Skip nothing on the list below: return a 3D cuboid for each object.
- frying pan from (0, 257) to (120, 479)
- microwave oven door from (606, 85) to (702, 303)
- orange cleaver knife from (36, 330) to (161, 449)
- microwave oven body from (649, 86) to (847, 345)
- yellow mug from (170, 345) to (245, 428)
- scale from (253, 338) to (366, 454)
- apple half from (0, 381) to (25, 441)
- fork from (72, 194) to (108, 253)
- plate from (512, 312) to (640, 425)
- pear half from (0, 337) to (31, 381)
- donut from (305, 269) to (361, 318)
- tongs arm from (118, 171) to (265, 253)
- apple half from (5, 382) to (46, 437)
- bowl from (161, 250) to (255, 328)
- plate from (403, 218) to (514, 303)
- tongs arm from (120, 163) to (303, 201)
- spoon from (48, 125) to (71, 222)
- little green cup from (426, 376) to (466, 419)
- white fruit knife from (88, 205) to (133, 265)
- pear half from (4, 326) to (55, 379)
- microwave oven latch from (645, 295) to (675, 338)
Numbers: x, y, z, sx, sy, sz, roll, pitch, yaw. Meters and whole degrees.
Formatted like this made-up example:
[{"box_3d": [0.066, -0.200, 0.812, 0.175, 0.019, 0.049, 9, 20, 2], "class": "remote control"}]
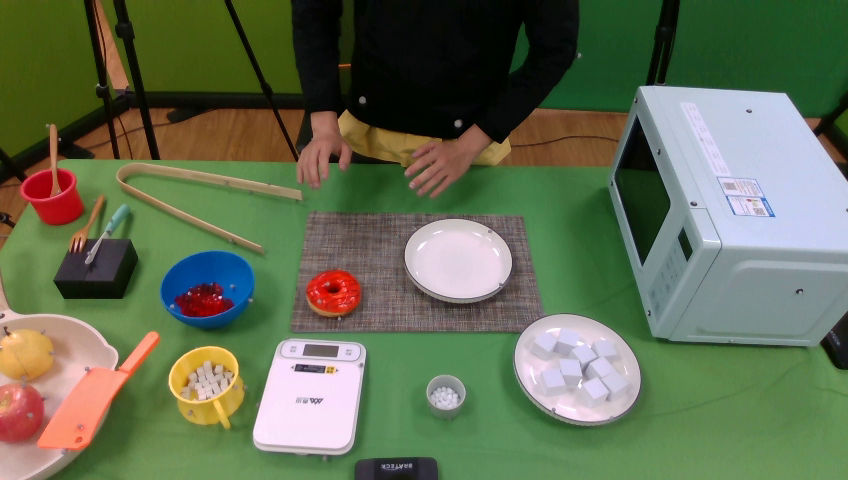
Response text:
[{"box_3d": [-0.647, 0.164, 0.936, 0.307, 0.103, 0.485, -19, 58, -22], "class": "frying pan"}, {"box_3d": [0.422, -0.094, 1.140, 0.039, 0.245, 0.353, 2, 46, -1], "class": "microwave oven door"}, {"box_3d": [-0.466, 0.210, 0.880, 0.077, 0.012, 0.210, 15, 46, 9], "class": "orange cleaver knife"}, {"box_3d": [0.567, -0.053, 1.118, 0.326, 0.261, 0.439, 2, 45, -1], "class": "microwave oven body"}, {"box_3d": [-0.322, 0.230, 0.922, 0.100, 0.064, 0.130, -24, 53, -25], "class": "yellow mug"}, {"box_3d": [-0.175, 0.236, 0.951, 0.149, 0.032, 0.199, 4, 45, -1], "class": "scale"}, {"box_3d": [-0.605, 0.250, 0.871, 0.053, 0.075, 0.080, -9, 51, -7], "class": "apple half"}, {"box_3d": [-0.634, -0.036, 1.158, 0.028, 0.019, 0.206, -8, 32, -8], "class": "fork"}, {"box_3d": [0.246, 0.213, 0.999, 0.208, 0.039, 0.206, 2, 46, -2], "class": "plate"}, {"box_3d": [-0.632, 0.185, 0.920, 0.070, 0.088, 0.031, 29, 50, 20], "class": "pear half"}, {"box_3d": [-0.160, 0.094, 1.075, 0.099, 0.048, 0.098, 4, 45, -3], "class": "donut"}, {"box_3d": [-0.473, -0.056, 1.209, 0.386, 0.028, 0.028, 23, 55, 17], "class": "tongs arm"}, {"box_3d": [-0.567, 0.244, 0.877, 0.033, 0.082, 0.080, -9, 47, -7], "class": "apple half"}, {"box_3d": [-0.362, 0.098, 1.039, 0.151, 0.077, 0.150, 2, 45, -2], "class": "bowl"}, {"box_3d": [0.064, 0.042, 1.146, 0.209, 0.038, 0.208, 2, 46, -2], "class": "plate"}, {"box_3d": [-0.444, -0.114, 1.266, 0.384, 0.026, 0.050, 12, 50, 7], "class": "tongs arm"}, {"box_3d": [-0.718, -0.131, 1.188, 0.041, 0.021, 0.193, -3, 90, -7], "class": "spoon"}, {"box_3d": [0.033, 0.248, 0.950, 0.061, 0.039, 0.061, 2, 46, -2], "class": "little green cup"}, {"box_3d": [-0.584, -0.013, 1.129, 0.016, 0.027, 0.206, 0, 32, -5], "class": "white fruit knife"}, {"box_3d": [-0.609, 0.159, 0.933, 0.076, 0.110, 0.056, 31, 52, 20], "class": "pear half"}, {"box_3d": [0.412, 0.134, 1.061, 0.030, 0.029, 0.078, 3, 45, 0], "class": "microwave oven latch"}]
